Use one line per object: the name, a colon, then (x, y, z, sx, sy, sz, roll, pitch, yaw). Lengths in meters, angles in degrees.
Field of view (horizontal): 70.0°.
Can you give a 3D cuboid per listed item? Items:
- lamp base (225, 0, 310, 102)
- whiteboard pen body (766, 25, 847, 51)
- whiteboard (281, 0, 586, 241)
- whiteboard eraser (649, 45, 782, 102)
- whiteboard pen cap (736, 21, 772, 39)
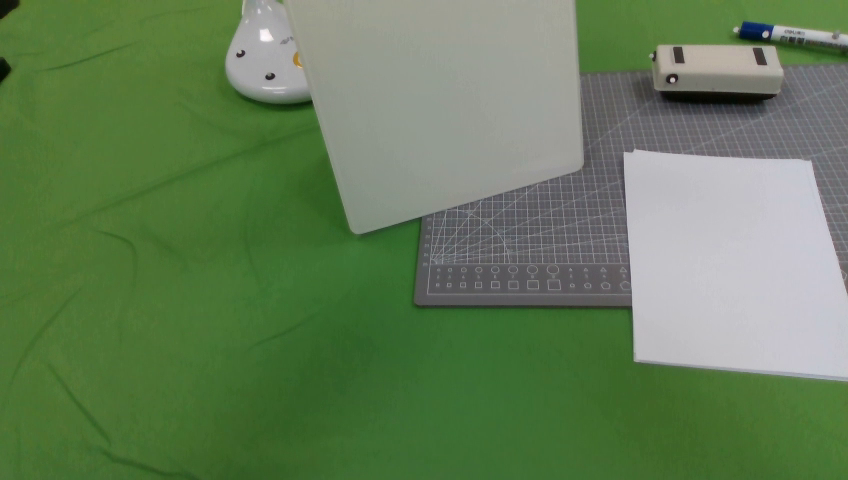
lamp base: (-0.162, -0.265, 0.637, 0.160, 0.182, 0.177, -39, 53, -24)
whiteboard pen body: (0.407, -0.209, 0.628, 0.140, 0.017, 0.017, 18, 54, 23)
whiteboard: (-0.002, -0.189, 0.509, 0.217, 0.308, 0.142, -16, 30, -6)
whiteboard eraser: (0.278, -0.161, 0.586, 0.112, 0.042, 0.055, 4, 51, 10)
whiteboard pen cap: (0.356, -0.225, 0.651, 0.033, 0.018, 0.018, 18, 54, 24)
